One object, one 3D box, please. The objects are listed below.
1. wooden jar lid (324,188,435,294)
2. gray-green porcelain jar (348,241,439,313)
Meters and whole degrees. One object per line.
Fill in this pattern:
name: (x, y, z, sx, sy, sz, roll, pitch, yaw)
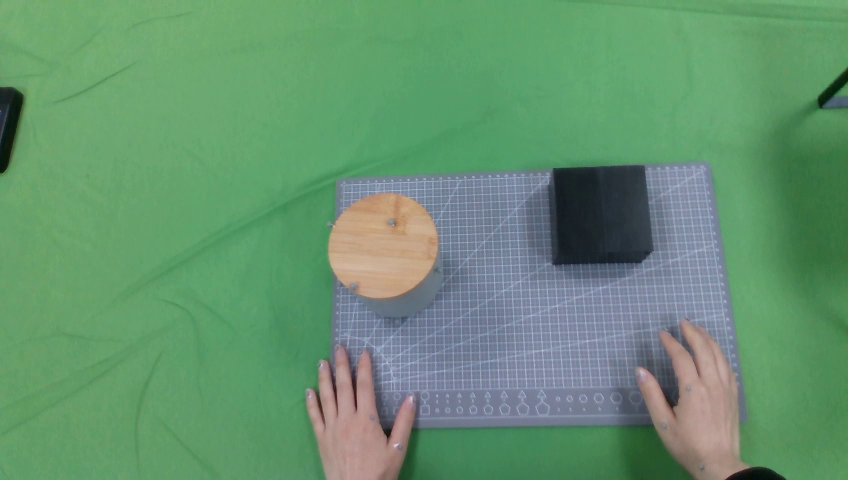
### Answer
wooden jar lid: (-0.042, 0.002, 0.591, 0.108, 0.021, 0.107, -2, 73, 6)
gray-green porcelain jar: (-0.037, 0.020, 0.651, 0.106, 0.127, 0.105, -1, 73, 4)
